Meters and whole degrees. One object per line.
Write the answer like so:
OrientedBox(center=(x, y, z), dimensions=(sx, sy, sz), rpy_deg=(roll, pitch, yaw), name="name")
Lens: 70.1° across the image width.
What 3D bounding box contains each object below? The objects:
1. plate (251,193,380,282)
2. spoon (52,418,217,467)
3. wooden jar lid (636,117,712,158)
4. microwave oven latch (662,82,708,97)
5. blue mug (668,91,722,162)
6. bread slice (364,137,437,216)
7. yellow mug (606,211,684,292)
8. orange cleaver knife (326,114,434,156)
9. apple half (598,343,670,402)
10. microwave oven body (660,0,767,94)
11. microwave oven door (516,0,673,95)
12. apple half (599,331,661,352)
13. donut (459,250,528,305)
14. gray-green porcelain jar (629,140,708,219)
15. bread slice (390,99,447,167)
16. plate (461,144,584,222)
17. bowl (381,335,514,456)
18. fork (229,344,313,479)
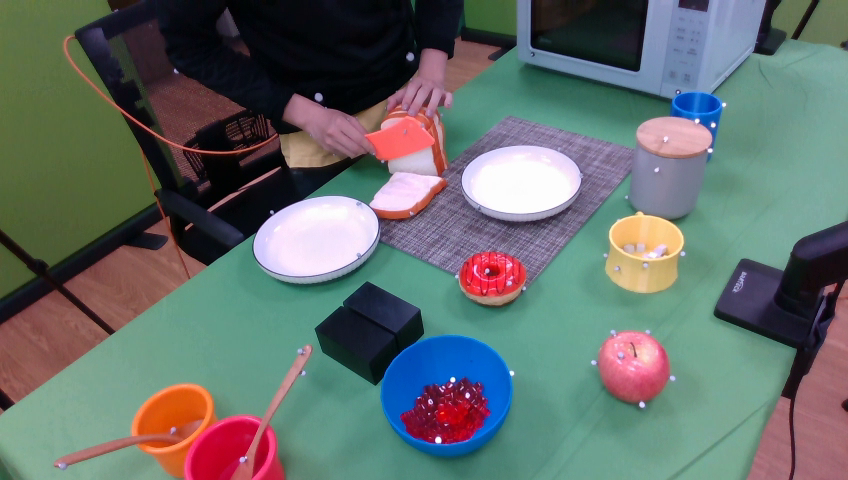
OrientedBox(center=(-0.173, -0.001, 0.984), dimensions=(0.209, 0.038, 0.208), rpy_deg=(-4, 40, 4), name="plate")
OrientedBox(center=(-0.308, 0.220, 0.663), dimensions=(0.041, 0.195, 0.021), rpy_deg=(21, 93, 29), name="spoon")
OrientedBox(center=(0.377, -0.151, 0.917), dimensions=(0.108, 0.021, 0.108), rpy_deg=(-2, 42, 2), name="wooden jar lid")
OrientedBox(center=(0.518, -0.298, 1.203), dimensions=(0.078, 0.029, 0.030), rpy_deg=(28, 53, 35), name="microwave oven latch")
OrientedBox(center=(0.474, -0.207, 1.079), dimensions=(0.082, 0.106, 0.116), rpy_deg=(4, 42, 13), name="blue mug")
OrientedBox(center=(-0.049, -0.108, 1.032), dimensions=(0.106, 0.018, 0.134), rpy_deg=(17, 82, 22), name="bread slice")
OrientedBox(center=(0.318, 0.008, 0.883), dimensions=(0.100, 0.064, 0.130), rpy_deg=(0, 41, 9), name="yellow mug")
OrientedBox(center=(-0.081, -0.176, 1.086), dimensions=(0.210, 0.078, 0.012), rpy_deg=(-8, 46, 31), name="orange cleaver knife")
OrientedBox(center=(0.247, 0.161, 0.710), dimensions=(0.081, 0.075, 0.053), rpy_deg=(2, 47, 5), name="apple half")
OrientedBox(center=(0.473, -0.516, 1.313), dimensions=(0.438, 0.261, 0.327), rpy_deg=(26, 51, 34), name="microwave oven body")
OrientedBox(center=(0.344, -0.458, 1.256), dimensions=(0.353, 0.245, 0.039), rpy_deg=(26, 51, 33), name="microwave oven door")
OrientedBox(center=(0.249, 0.134, 0.738), dimensions=(0.081, 0.081, 0.032), rpy_deg=(-1, 46, 7), name="apple half")
OrientedBox(center=(0.100, 0.053, 0.872), dimensions=(0.099, 0.048, 0.098), rpy_deg=(-5, 40, 4), name="donut")
OrientedBox(center=(0.383, -0.105, 0.958), dimensions=(0.106, 0.127, 0.105), rpy_deg=(-4, 41, 4), name="gray-green porcelain jar")
OrientedBox(center=(-0.010, -0.197, 1.117), dimensions=(0.104, 0.132, 0.019), rpy_deg=(7, 39, 17), name="bread slice")
OrientedBox(center=(0.167, -0.095, 1.040), dimensions=(0.207, 0.039, 0.206), rpy_deg=(-4, 40, 4), name="plate")
OrientedBox(center=(0.029, 0.192, 0.701), dimensions=(0.151, 0.077, 0.150), rpy_deg=(-4, 40, 4), name="bowl")
OrientedBox(center=(-0.173, 0.205, 0.662), dimensions=(0.028, 0.019, 0.207), rpy_deg=(29, 94, 36), name="fork")
